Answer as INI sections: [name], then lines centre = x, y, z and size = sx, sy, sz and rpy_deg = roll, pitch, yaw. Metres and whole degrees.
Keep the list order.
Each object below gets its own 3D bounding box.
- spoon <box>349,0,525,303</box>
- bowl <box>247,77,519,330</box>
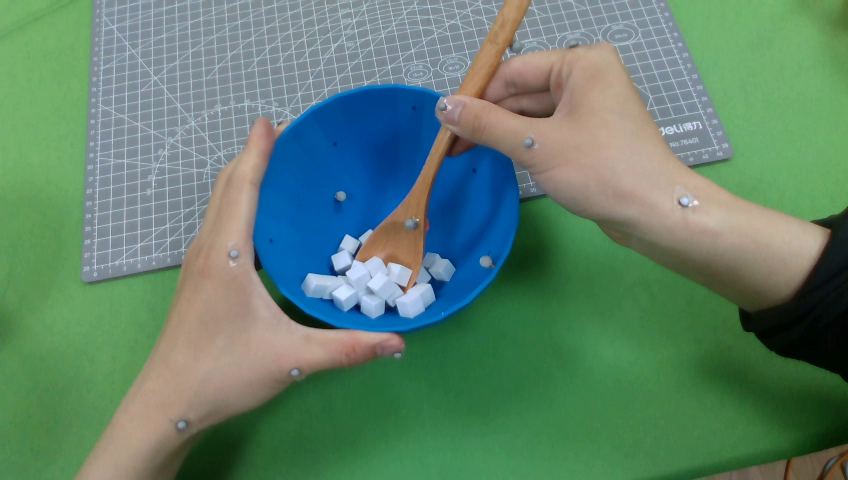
[spoon]
centre = 0.008, -0.049, 0.329
size = 0.041, 0.022, 0.194
rpy_deg = 35, 113, 22
[bowl]
centre = -0.021, -0.013, 0.369
size = 0.151, 0.077, 0.150
rpy_deg = -1, 71, 3
